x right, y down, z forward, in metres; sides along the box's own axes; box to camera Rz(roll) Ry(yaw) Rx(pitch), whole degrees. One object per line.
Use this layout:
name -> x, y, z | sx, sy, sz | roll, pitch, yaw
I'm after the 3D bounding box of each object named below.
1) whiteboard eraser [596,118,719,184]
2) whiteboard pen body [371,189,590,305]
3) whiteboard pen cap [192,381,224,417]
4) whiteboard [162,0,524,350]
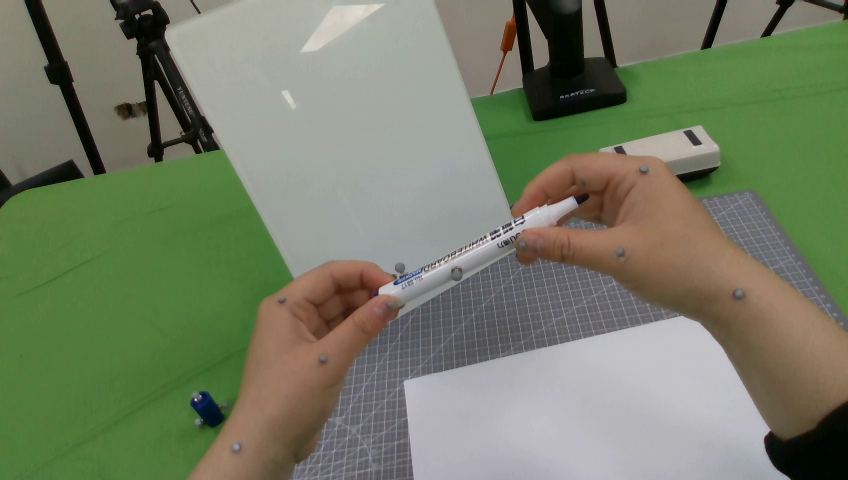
whiteboard eraser -> 0.244, -0.091, 0.637 | 0.112, 0.042, 0.055 | -12, 42, 4
whiteboard pen body -> 0.030, 0.004, 0.350 | 0.140, 0.017, 0.017 | -27, 38, 16
whiteboard pen cap -> -0.187, 0.138, 0.524 | 0.018, 0.033, 0.018 | -8, 41, 7
whiteboard -> -0.072, -0.094, 0.588 | 0.217, 0.307, 0.142 | -29, 21, -13
